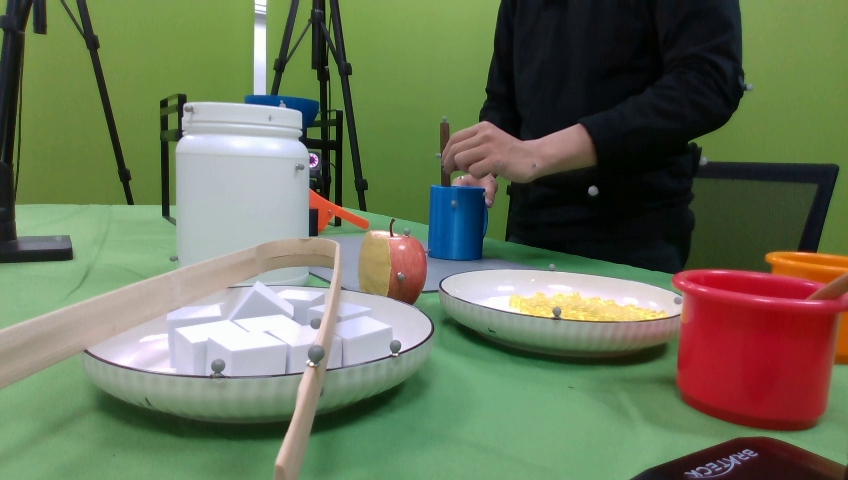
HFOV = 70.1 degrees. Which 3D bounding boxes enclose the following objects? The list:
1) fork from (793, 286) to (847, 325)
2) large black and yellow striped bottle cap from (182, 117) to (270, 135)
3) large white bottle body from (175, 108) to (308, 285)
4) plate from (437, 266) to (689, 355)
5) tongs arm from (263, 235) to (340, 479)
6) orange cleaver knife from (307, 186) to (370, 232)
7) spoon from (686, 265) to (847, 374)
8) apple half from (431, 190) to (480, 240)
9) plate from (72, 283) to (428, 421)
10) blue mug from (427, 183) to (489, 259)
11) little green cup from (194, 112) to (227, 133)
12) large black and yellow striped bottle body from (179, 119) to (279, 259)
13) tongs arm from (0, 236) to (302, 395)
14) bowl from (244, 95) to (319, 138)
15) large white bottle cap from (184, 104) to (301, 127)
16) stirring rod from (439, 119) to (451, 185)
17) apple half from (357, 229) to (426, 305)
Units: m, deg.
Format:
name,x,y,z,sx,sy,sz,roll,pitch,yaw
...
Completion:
name,x,y,z,sx,sy,sz,roll,pitch,yaw
fork,0.331,0.018,0.442,0.028,0.018,0.207,-2,-36,-15
large black and yellow striped bottle cap,-0.272,-0.156,0.833,0.115,0.019,0.115,1,7,0
large white bottle body,-0.188,-0.042,0.630,0.131,0.184,0.130,2,8,0
plate,0.114,0.057,0.518,0.209,0.038,0.209,3,7,0
tongs arm,-0.074,0.039,0.349,0.051,0.026,0.384,-2,10,-3
orange cleaver knife,-0.197,-0.056,1.141,0.212,0.077,0.012,29,0,-34
spoon,0.214,0.032,0.327,0.042,0.021,0.193,-3,-35,-26
apple half,0.046,-0.040,0.903,0.081,0.081,0.032,2,17,-4
plate,-0.102,0.066,0.381,0.208,0.039,0.207,2,7,0
blue mug,0.059,-0.031,0.906,0.082,0.106,0.117,9,10,42
little green cup,-0.412,-0.228,1.171,0.061,0.038,0.061,2,8,0
large black and yellow striped bottle body,-0.271,-0.074,0.846,0.131,0.184,0.130,0,9,0
tongs arm,-0.158,0.038,0.351,0.028,0.028,0.388,-3,8,11
bowl,-0.293,-0.251,1.249,0.151,0.077,0.151,2,8,0
large white bottle cap,-0.184,-0.126,0.618,0.115,0.018,0.115,2,8,0
stirring rod,0.032,-0.083,0.862,0.014,0.176,0.006,2,11,23
apple half,-0.026,0.028,0.570,0.053,0.074,0.080,3,2,-28
